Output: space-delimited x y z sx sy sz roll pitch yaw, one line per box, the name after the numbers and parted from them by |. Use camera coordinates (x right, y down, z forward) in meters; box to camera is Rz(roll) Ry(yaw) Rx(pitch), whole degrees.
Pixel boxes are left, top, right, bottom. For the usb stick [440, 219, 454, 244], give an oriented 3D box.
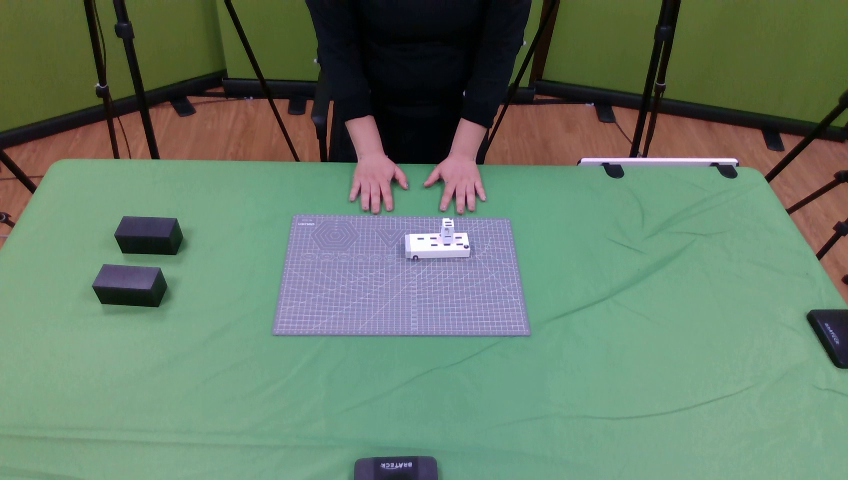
0.043 -0.011 1.165 0.021 0.059 0.027 -3 47 -8 | usb stick

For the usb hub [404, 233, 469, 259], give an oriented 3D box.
0.024 0.012 1.182 0.125 0.025 0.049 -2 46 -5 | usb hub
